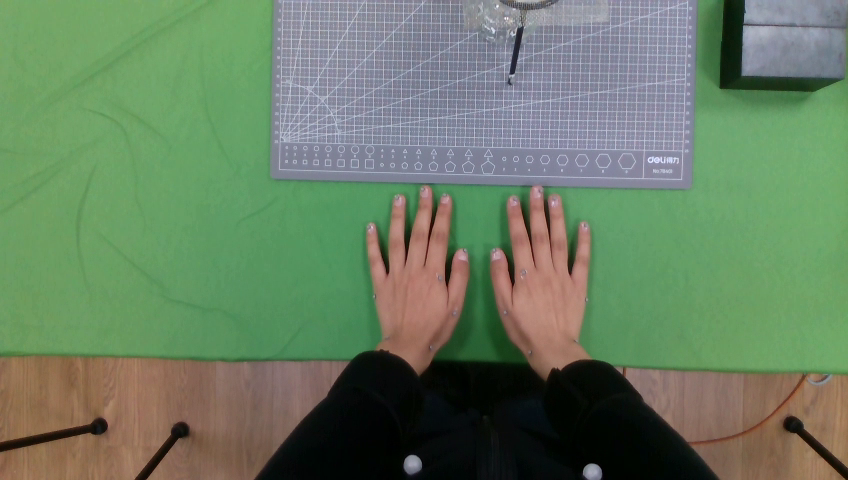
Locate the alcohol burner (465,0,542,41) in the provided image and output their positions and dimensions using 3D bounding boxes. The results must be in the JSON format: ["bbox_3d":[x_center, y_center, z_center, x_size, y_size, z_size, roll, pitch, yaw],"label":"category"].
[{"bbox_3d":[0.080,-0.239,0.590,0.078,0.119,0.078,0,90,1],"label":"alcohol burner"}]

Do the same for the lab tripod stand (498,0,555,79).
[{"bbox_3d":[0.094,-0.246,0.579,0.148,0.131,0.148,0,89,2],"label":"lab tripod stand"}]

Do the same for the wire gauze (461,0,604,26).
[{"bbox_3d":[0.089,-0.244,0.514,0.125,0.011,0.121,-4,92,-1],"label":"wire gauze"}]
